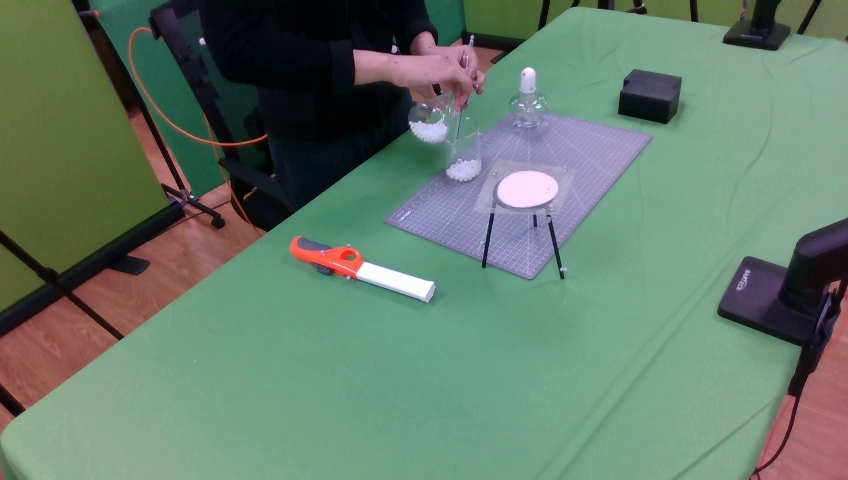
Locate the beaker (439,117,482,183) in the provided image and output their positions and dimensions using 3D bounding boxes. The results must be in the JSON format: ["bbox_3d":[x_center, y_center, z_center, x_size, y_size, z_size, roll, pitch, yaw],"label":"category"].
[{"bbox_3d":[0.068,-0.160,1.097,0.073,0.101,0.084,7,43,19],"label":"beaker"}]

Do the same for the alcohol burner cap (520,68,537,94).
[{"bbox_3d":[0.205,-0.313,1.183,0.034,0.048,0.033,-3,50,4],"label":"alcohol burner cap"}]

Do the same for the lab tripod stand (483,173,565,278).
[{"bbox_3d":[0.151,-0.025,0.896,0.148,0.132,0.147,-7,40,6],"label":"lab tripod stand"}]

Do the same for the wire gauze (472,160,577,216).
[{"bbox_3d":[0.143,-0.073,0.850,0.121,0.011,0.125,8,43,22],"label":"wire gauze"}]

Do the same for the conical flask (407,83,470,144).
[{"bbox_3d":[0.032,-0.218,1.000,0.075,0.075,0.122,16,45,27],"label":"conical flask"}]

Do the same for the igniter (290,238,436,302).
[{"bbox_3d":[-0.106,0.043,0.949,0.274,0.025,0.057,16,57,27],"label":"igniter"}]

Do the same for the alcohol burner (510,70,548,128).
[{"bbox_3d":[0.209,-0.287,1.207,0.078,0.119,0.077,-5,42,5],"label":"alcohol burner"}]

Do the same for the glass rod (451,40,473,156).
[{"bbox_3d":[0.066,-0.246,1.054,0.008,0.199,0.008,9,10,-1],"label":"glass rod"}]
